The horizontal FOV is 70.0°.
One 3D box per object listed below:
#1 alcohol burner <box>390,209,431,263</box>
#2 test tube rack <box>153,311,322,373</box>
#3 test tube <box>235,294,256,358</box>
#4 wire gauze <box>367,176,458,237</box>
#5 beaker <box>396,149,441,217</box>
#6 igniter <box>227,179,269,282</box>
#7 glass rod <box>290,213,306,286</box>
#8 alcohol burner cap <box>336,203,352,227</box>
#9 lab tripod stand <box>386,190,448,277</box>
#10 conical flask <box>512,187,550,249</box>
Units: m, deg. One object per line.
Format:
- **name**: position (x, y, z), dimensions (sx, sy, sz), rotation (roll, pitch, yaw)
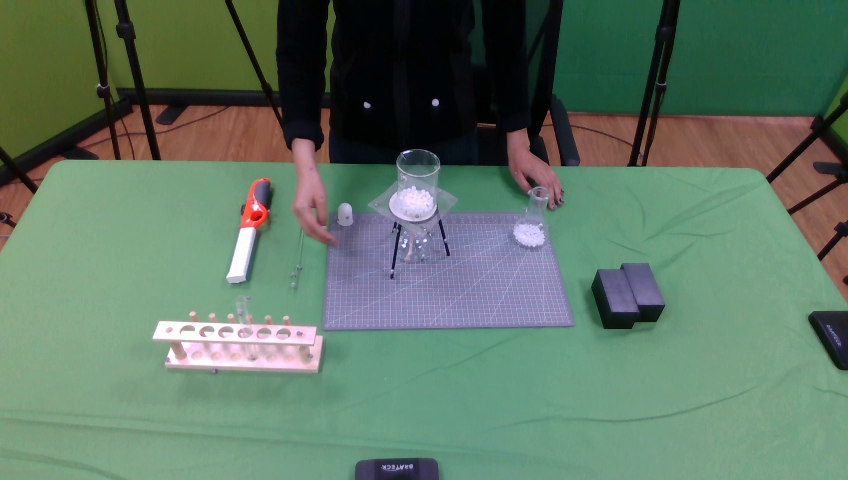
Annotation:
- **alcohol burner**: position (-0.024, -0.014, 1.144), dimensions (0.078, 0.119, 0.077), rotation (3, 45, -3)
- **test tube rack**: position (-0.293, 0.160, 0.978), dimensions (0.242, 0.085, 0.066), rotation (3, 46, -2)
- **test tube**: position (-0.274, 0.136, 0.933), dimensions (0.017, 0.151, 0.017), rotation (4, 46, -4)
- **wire gauze**: position (-0.020, -0.066, 1.089), dimensions (0.124, 0.011, 0.121), rotation (27, 47, 22)
- **beaker**: position (-0.015, -0.098, 1.053), dimensions (0.074, 0.101, 0.083), rotation (-31, 55, -30)
- **igniter**: position (-0.345, -0.027, 1.195), dimensions (0.057, 0.025, 0.274), rotation (-6, 45, 5)
- **glass rod**: position (-0.244, 0.015, 1.175), dimensions (0.008, 0.008, 0.198), rotation (1, 43, -3)
- **alcohol burner cap**: position (-0.162, -0.053, 1.221), dimensions (0.034, 0.048, 0.033), rotation (1, 47, -1)
- **lab tripod stand**: position (-0.021, -0.018, 1.135), dimensions (0.148, 0.132, 0.147), rotation (3, 44, -3)
- **conical flask**: position (0.217, -0.048, 1.190), dimensions (0.075, 0.122, 0.075), rotation (2, 46, -2)
